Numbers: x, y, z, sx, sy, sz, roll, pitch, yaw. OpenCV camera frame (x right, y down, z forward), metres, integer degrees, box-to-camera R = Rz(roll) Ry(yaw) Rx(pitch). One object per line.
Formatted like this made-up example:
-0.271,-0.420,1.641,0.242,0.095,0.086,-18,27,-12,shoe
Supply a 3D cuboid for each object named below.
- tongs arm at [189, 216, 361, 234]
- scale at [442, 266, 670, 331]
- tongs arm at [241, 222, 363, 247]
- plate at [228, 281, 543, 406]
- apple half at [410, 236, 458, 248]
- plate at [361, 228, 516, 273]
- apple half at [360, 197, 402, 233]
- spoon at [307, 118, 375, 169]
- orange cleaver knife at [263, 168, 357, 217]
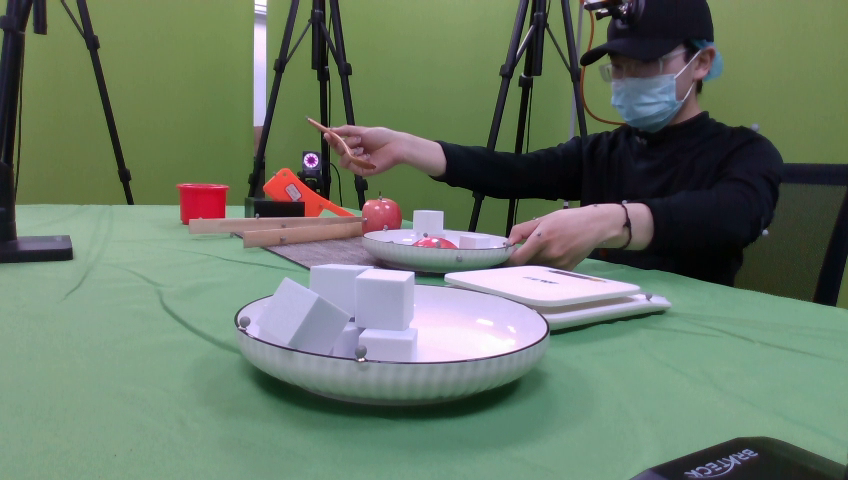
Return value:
-0.220,-0.028,1.088,0.387,0.026,0.050,-3,8,-43,tongs arm
0.131,0.052,0.603,0.202,0.031,0.148,-2,9,-37,scale
-0.159,-0.017,1.034,0.028,0.028,0.389,2,6,33,tongs arm
-0.025,0.067,0.413,0.208,0.039,0.207,3,7,0,plate
0.014,0.011,0.796,0.081,0.033,0.081,1,10,0,apple half
0.019,0.013,0.818,0.209,0.038,0.209,2,7,0,plate
-0.065,-0.033,1.014,0.053,0.074,0.081,10,6,21,apple half
-0.148,-0.170,1.052,0.193,0.021,0.042,43,16,34,spoon
-0.240,-0.078,1.294,0.212,0.077,0.012,32,-7,-26,orange cleaver knife
